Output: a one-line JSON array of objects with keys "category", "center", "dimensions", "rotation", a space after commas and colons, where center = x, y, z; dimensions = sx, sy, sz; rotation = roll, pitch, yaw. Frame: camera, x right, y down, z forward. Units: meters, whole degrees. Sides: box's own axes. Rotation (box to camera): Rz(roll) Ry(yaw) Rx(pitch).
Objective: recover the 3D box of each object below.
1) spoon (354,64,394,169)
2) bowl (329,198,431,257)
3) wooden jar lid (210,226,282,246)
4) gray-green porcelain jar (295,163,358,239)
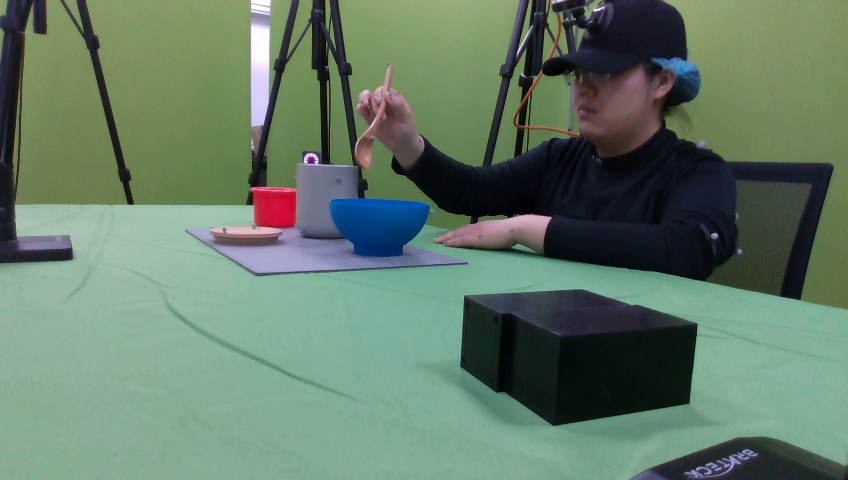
[{"category": "spoon", "center": [-0.074, -0.199, 0.962], "dimensions": [0.021, 0.193, 0.042], "rotation": [4, -23, 36]}, {"category": "bowl", "center": [-0.067, -0.019, 0.895], "dimensions": [0.151, 0.077, 0.151], "rotation": [3, 7, 0]}, {"category": "wooden jar lid", "center": [-0.279, -0.007, 0.951], "dimensions": [0.108, 0.020, 0.108], "rotation": [2, 8, 0]}, {"category": "gray-green porcelain jar", "center": [-0.170, -0.069, 1.054], "dimensions": [0.106, 0.126, 0.106], "rotation": [3, 7, 0]}]
